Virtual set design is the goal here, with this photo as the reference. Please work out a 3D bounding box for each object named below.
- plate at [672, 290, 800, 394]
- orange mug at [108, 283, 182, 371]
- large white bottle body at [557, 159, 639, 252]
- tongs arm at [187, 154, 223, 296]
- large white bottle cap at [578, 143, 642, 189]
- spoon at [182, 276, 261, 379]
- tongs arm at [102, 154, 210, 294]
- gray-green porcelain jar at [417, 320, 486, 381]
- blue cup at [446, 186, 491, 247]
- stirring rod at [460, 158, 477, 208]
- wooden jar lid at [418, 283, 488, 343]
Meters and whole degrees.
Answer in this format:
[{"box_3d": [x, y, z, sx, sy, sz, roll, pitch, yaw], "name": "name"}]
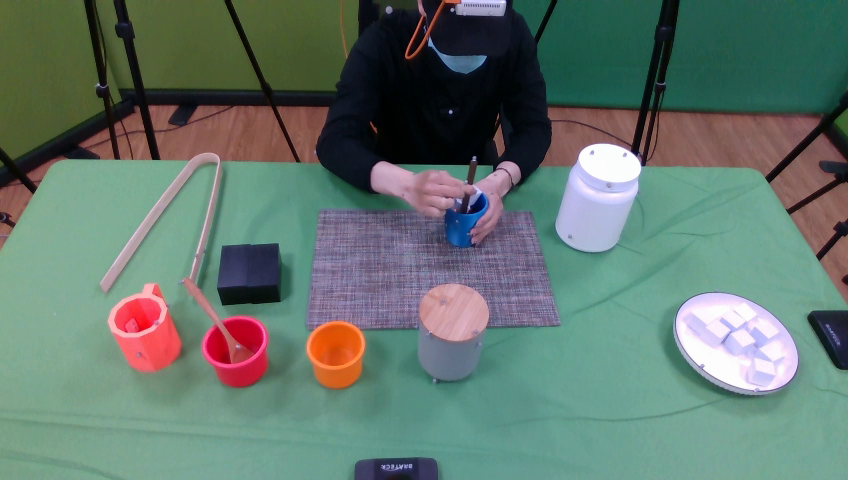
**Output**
[{"box_3d": [0.533, 0.179, 1.050, 0.208, 0.039, 0.206, 2, 46, -2], "name": "plate"}, {"box_3d": [-0.445, 0.134, 0.982, 0.083, 0.101, 0.125, -1, 50, -5], "name": "orange mug"}, {"box_3d": [0.340, -0.081, 1.185, 0.131, 0.185, 0.130, 2, 46, -1], "name": "large white bottle body"}, {"box_3d": [-0.442, -0.045, 1.199, 0.051, 0.027, 0.382, -4, 46, 1], "name": "tongs arm"}, {"box_3d": [0.344, -0.139, 1.123, 0.115, 0.018, 0.114, 2, 46, -2], "name": "large white bottle cap"}, {"box_3d": [-0.321, 0.137, 0.957, 0.041, 0.021, 0.194, -36, 102, -32], "name": "spoon"}, {"box_3d": [-0.524, -0.046, 1.203, 0.028, 0.028, 0.385, 4, 45, 13], "name": "tongs arm"}, {"box_3d": [0.042, 0.158, 0.975, 0.106, 0.127, 0.105, 2, 46, -2], "name": "gray-green porcelain jar"}, {"box_3d": [0.081, -0.041, 1.186, 0.093, 0.101, 0.092, 3, 45, -3], "name": "blue cup"}, {"box_3d": [0.076, -0.079, 1.118, 0.014, 0.177, 0.006, -13, 48, -22], "name": "stirring rod"}, {"box_3d": [0.045, 0.114, 0.931, 0.108, 0.021, 0.107, 2, 49, -2], "name": "wooden jar lid"}]
